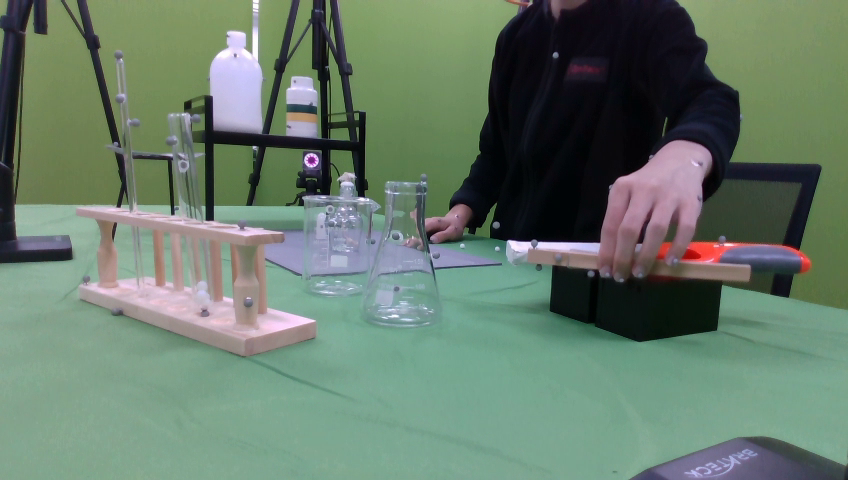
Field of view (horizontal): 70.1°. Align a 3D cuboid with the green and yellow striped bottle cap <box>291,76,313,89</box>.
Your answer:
[{"bbox_3d":[-0.250,-0.321,1.237,0.045,0.020,0.045,4,4,0],"label":"green and yellow striped bottle cap"}]

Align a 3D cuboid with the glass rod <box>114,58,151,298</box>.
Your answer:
[{"bbox_3d":[-0.236,-0.044,0.492,0.008,0.199,0.008,0,15,0],"label":"glass rod"}]

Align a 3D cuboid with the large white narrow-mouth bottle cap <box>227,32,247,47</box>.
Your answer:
[{"bbox_3d":[-0.364,-0.390,1.180,0.038,0.024,0.037,3,8,0],"label":"large white narrow-mouth bottle cap"}]

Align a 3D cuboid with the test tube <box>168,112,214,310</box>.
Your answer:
[{"bbox_3d":[-0.175,-0.020,0.455,0.017,0.150,0.017,-4,9,1],"label":"test tube"}]

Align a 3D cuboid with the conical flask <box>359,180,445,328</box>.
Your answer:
[{"bbox_3d":[-0.017,0.010,0.522,0.075,0.122,0.075,2,7,0],"label":"conical flask"}]

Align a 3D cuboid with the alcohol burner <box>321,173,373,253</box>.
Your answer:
[{"bbox_3d":[-0.115,-0.041,0.905,0.078,0.119,0.078,1,6,0],"label":"alcohol burner"}]

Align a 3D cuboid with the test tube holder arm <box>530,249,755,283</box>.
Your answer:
[{"bbox_3d":[0.180,0.022,0.511,0.178,0.015,0.013,5,12,19],"label":"test tube holder arm"}]

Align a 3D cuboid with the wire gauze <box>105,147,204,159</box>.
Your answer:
[{"bbox_3d":[-0.408,-0.131,0.929,0.125,0.011,0.121,2,6,-11],"label":"wire gauze"}]

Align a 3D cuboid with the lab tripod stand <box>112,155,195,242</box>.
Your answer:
[{"bbox_3d":[-0.405,-0.064,0.931,0.148,0.131,0.148,1,6,0],"label":"lab tripod stand"}]

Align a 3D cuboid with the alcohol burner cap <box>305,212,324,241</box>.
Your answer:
[{"bbox_3d":[-0.185,-0.023,1.027,0.034,0.048,0.034,2,6,0],"label":"alcohol burner cap"}]

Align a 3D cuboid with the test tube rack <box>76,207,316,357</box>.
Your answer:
[{"bbox_3d":[-0.196,0.023,0.500,0.241,0.085,0.067,8,9,36],"label":"test tube rack"}]

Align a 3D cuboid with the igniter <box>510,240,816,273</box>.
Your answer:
[{"bbox_3d":[0.220,0.015,0.566,0.277,0.025,0.057,2,16,0],"label":"igniter"}]

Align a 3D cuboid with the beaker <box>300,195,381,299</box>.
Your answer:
[{"bbox_3d":[-0.087,0.006,0.626,0.084,0.100,0.074,1,8,-17],"label":"beaker"}]

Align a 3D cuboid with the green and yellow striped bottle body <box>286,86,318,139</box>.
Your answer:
[{"bbox_3d":[-0.251,-0.270,1.245,0.063,0.119,0.063,2,7,0],"label":"green and yellow striped bottle body"}]

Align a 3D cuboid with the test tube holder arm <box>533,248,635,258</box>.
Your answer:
[{"bbox_3d":[0.139,0.017,0.531,0.087,0.015,0.010,5,12,19],"label":"test tube holder arm"}]

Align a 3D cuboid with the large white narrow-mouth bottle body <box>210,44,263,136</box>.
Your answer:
[{"bbox_3d":[-0.369,-0.305,1.194,0.102,0.194,0.102,3,8,0],"label":"large white narrow-mouth bottle body"}]
